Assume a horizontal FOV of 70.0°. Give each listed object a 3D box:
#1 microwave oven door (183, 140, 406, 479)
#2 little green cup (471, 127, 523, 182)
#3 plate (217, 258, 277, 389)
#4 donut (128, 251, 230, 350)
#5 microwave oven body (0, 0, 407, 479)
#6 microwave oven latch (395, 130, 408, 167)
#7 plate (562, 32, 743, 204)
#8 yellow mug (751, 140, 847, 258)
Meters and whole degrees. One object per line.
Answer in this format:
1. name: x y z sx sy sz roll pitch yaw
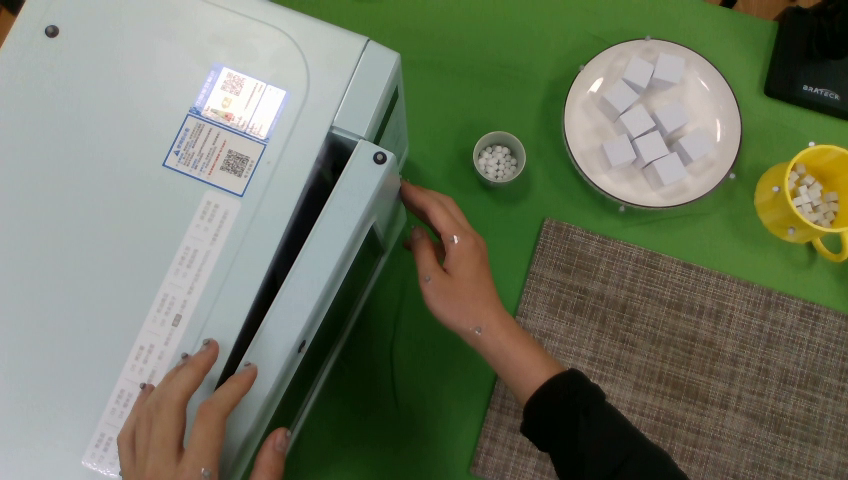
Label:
1. microwave oven door: -0.115 0.099 0.557 0.039 0.244 0.355 26 82 5
2. little green cup: 0.084 -0.097 0.708 0.061 0.039 0.061 0 83 1
3. plate: -0.253 0.059 0.621 0.209 0.038 0.208 0 82 0
4. donut: -0.243 0.059 0.606 0.099 0.048 0.099 0 85 -3
5. microwave oven body: -0.247 0.003 0.576 0.326 0.261 0.440 21 82 3
6. microwave oven latch: -0.044 -0.091 0.689 0.030 0.029 0.079 25 83 3
7. plate: 0.265 -0.141 0.718 0.208 0.039 0.207 0 81 0
8. yellow mug: 0.445 -0.042 0.689 0.100 0.064 0.130 -18 83 -3
